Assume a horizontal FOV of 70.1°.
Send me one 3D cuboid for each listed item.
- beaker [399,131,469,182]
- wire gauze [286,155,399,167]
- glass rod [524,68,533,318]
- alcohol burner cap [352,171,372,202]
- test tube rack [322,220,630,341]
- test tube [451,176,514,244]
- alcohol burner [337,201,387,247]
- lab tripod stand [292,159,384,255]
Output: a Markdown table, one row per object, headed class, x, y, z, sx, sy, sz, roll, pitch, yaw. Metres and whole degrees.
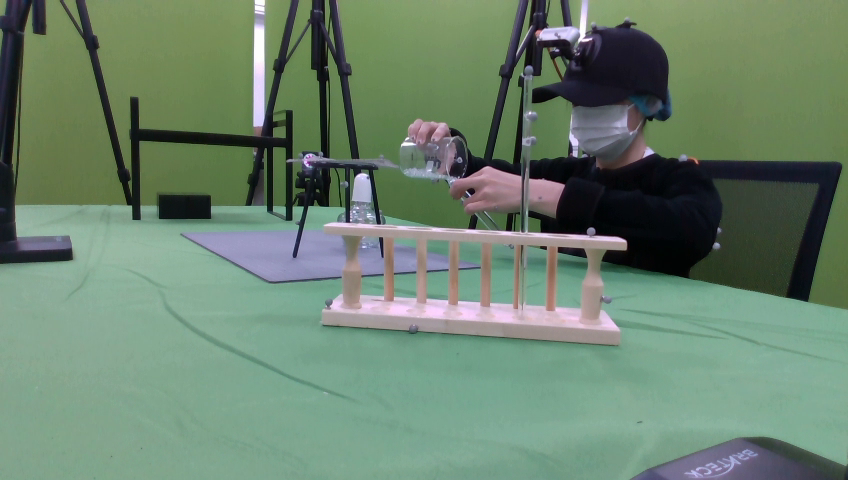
| class | x | y | z | sx | sy | sz | roll | pitch | yaw |
| --- | --- | --- | --- | --- | --- | --- | --- | --- | --- |
| beaker | 0.015 | -0.140 | 1.010 | 0.100 | 0.084 | 0.074 | 7 | -1 | 32 |
| wire gauze | -0.101 | -0.105 | 0.788 | 0.121 | 0.011 | 0.125 | 4 | 6 | 6 |
| glass rod | 0.082 | -0.031 | 0.473 | 0.008 | 0.199 | 0.008 | -2 | 14 | 1 |
| alcohol burner cap | -0.096 | -0.084 | 0.951 | 0.034 | 0.048 | 0.034 | 6 | 5 | 0 |
| test tube rack | 0.041 | 0.029 | 0.512 | 0.242 | 0.085 | 0.067 | 3 | 7 | 5 |
| test tube | 0.091 | -0.048 | 0.955 | 0.017 | 0.017 | 0.149 | -7 | 49 | -49 |
| alcohol burner | -0.098 | -0.049 | 0.954 | 0.078 | 0.119 | 0.078 | 0 | 7 | 0 |
| lab tripod stand | -0.105 | -0.039 | 0.797 | 0.148 | 0.131 | 0.148 | 2 | 5 | 0 |
